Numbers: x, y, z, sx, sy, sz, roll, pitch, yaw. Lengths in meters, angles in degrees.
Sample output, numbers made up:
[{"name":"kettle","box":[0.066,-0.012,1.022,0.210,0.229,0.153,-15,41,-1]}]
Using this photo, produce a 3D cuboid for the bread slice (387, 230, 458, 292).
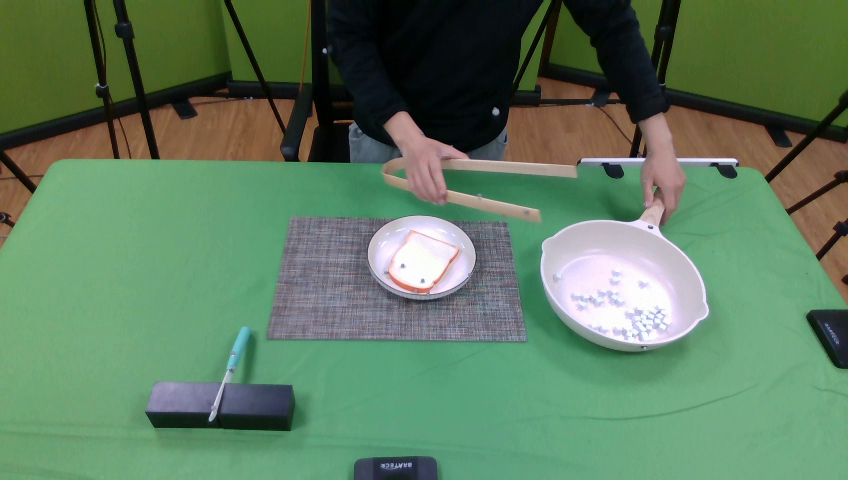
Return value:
[{"name":"bread slice","box":[-0.007,0.043,1.142,0.107,0.018,0.134,18,46,14]}]

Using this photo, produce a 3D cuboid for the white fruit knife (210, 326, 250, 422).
[{"name":"white fruit knife","box":[-0.301,0.201,0.942,0.016,0.027,0.206,1,32,-1]}]

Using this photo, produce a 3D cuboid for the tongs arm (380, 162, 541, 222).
[{"name":"tongs arm","box":[0.053,-0.091,1.078,0.383,0.027,0.050,15,51,40]}]

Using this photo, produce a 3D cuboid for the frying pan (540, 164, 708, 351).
[{"name":"frying pan","box":[0.407,0.012,1.160,0.306,0.103,0.486,26,58,18]}]

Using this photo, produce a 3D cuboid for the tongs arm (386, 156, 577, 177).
[{"name":"tongs arm","box":[0.093,-0.134,1.115,0.386,0.028,0.028,7,49,33]}]

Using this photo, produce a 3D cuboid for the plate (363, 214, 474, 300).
[{"name":"plate","box":[-0.010,0.036,1.146,0.208,0.039,0.206,3,46,-2]}]
